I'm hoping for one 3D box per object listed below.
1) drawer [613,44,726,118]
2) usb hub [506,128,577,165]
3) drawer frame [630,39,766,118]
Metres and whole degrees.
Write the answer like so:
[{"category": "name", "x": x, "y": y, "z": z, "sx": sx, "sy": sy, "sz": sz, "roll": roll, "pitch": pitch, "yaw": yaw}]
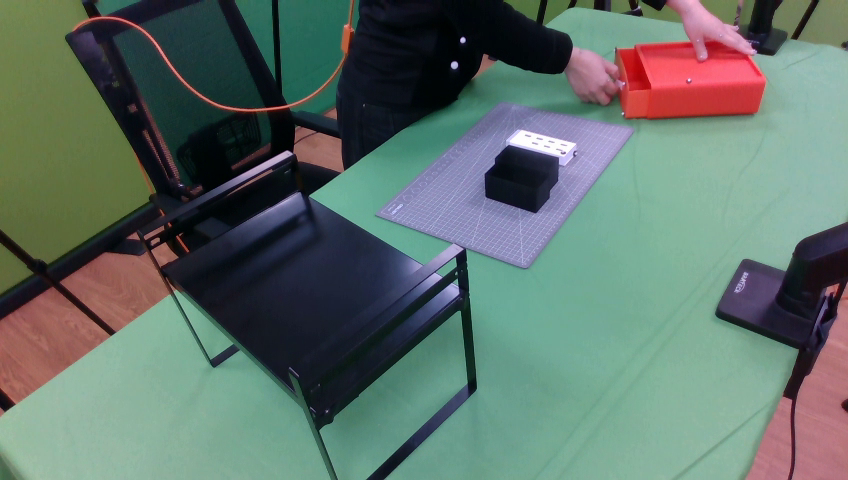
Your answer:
[{"category": "drawer", "x": 0.504, "y": -0.330, "z": 1.239, "sx": 0.211, "sy": 0.073, "sz": 0.194, "roll": 0, "pitch": 41, "yaw": 8}, {"category": "usb hub", "x": 0.221, "y": -0.177, "z": 1.142, "sx": 0.124, "sy": 0.025, "sz": 0.049, "roll": 22, "pitch": 49, "yaw": 30}, {"category": "drawer frame", "x": 0.545, "y": -0.332, "z": 1.233, "sx": 0.213, "sy": 0.083, "sz": 0.201, "roll": -1, "pitch": 41, "yaw": 6}]
